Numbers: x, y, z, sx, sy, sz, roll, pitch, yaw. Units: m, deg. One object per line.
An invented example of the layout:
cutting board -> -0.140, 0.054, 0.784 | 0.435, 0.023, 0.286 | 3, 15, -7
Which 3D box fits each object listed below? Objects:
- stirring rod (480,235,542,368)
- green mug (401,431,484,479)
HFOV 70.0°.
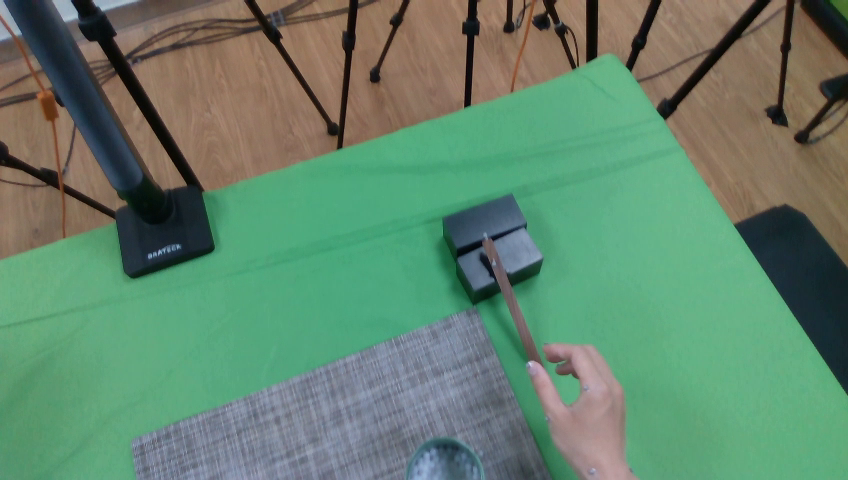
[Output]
stirring rod -> 0.107, 0.075, 0.749 | 0.014, 0.006, 0.176 | -23, 89, 3
green mug -> 0.030, 0.264, 0.641 | 0.092, 0.106, 0.124 | -36, 68, -15
